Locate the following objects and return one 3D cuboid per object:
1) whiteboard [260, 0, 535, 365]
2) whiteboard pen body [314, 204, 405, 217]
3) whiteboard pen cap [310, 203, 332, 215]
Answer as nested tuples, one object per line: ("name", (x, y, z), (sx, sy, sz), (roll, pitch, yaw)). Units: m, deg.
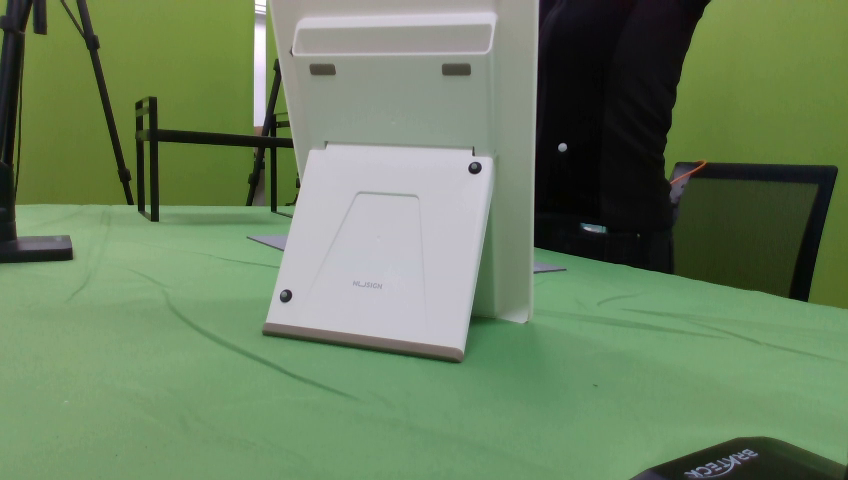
("whiteboard", (-0.037, -0.041, 0.457), (0.216, 0.305, 0.144), (5, 28, 19))
("whiteboard pen body", (-0.098, -0.046, 0.931), (0.141, 0.017, 0.017), (2, 8, -14))
("whiteboard pen cap", (-0.156, -0.047, 0.916), (0.033, 0.018, 0.018), (3, 7, -15))
